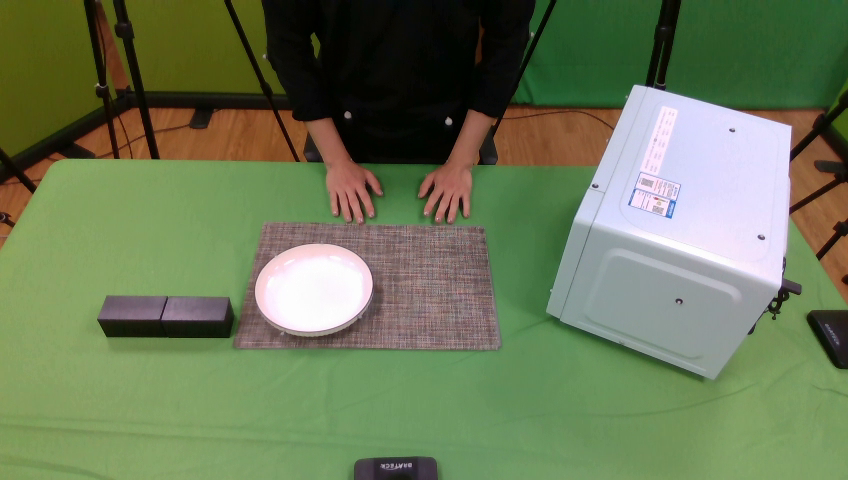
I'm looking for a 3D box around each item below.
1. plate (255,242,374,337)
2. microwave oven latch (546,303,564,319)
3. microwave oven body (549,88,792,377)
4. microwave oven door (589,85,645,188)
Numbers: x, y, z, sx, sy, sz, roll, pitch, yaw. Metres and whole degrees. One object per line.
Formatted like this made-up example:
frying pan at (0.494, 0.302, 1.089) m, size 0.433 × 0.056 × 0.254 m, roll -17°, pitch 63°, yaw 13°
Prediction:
plate at (-0.192, 0.090, 1.079) m, size 0.208 × 0.039 × 0.206 m, roll 2°, pitch 46°, yaw -2°
microwave oven latch at (0.242, 0.102, 1.081) m, size 0.030 × 0.029 × 0.079 m, roll 22°, pitch 48°, yaw 17°
microwave oven body at (0.456, -0.028, 1.088) m, size 0.325 × 0.261 × 0.440 m, roll 20°, pitch 47°, yaw 16°
microwave oven door at (0.342, -0.107, 1.149) m, size 0.039 × 0.245 × 0.354 m, roll 20°, pitch 48°, yaw 15°
